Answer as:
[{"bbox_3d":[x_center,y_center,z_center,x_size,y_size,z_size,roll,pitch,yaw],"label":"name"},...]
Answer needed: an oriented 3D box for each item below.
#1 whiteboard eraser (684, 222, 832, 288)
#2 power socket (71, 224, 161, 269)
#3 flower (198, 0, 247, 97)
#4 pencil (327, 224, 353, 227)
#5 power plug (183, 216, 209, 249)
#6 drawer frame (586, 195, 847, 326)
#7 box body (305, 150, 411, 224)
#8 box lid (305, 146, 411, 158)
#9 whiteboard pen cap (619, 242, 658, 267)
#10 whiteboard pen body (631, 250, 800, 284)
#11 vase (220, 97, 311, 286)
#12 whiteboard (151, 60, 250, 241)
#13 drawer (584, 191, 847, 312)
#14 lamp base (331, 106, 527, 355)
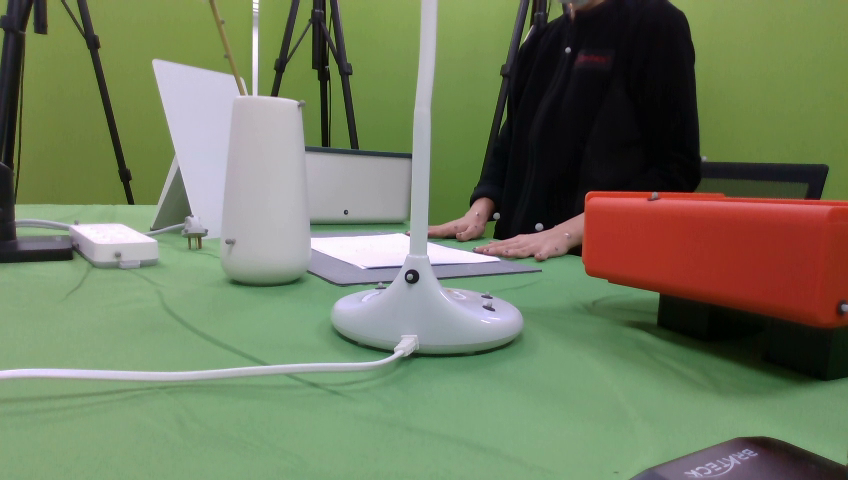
[{"bbox_3d":[0.304,0.013,0.558,0.056,0.042,0.112,-10,20,-30],"label":"whiteboard eraser"},{"bbox_3d":[-0.408,0.004,0.793,0.072,0.032,0.225,-2,8,-38],"label":"power socket"},{"bbox_3d":[-0.187,-0.133,0.648,0.038,0.362,0.044,-1,22,43],"label":"flower"},{"bbox_3d":[-0.248,-0.044,1.340,0.195,0.012,0.012,9,4,-29],"label":"pencil"},{"bbox_3d":[-0.334,-0.007,0.891,0.035,0.052,0.072,-4,-12,-17],"label":"power plug"},{"bbox_3d":[0.284,0.004,0.508,0.203,0.082,0.212,-1,6,-28],"label":"drawer frame"},{"bbox_3d":[-0.233,-0.127,1.374,0.366,0.160,0.253,-2,8,-29],"label":"box body"},{"bbox_3d":[-0.232,-0.200,1.363,0.373,0.015,0.262,0,8,-29],"label":"box lid"},{"bbox_3d":[0.198,0.014,0.557,0.018,0.018,0.033,-4,15,-38],"label":"whiteboard pen cap"},{"bbox_3d":[0.239,0.021,0.512,0.017,0.017,0.140,-4,8,-41],"label":"whiteboard pen body"},{"bbox_3d":[-0.172,-0.052,0.662,0.098,0.200,0.098,3,8,0],"label":"vase"},{"bbox_3d":[-0.408,-0.139,1.094,0.143,0.305,0.218,-15,0,25],"label":"whiteboard"},{"bbox_3d":[0.280,0.001,0.513,0.195,0.073,0.211,0,8,-28],"label":"drawer"},{"bbox_3d":[0.006,-0.012,0.478,0.161,0.180,0.179,2,10,2],"label":"lamp base"}]
